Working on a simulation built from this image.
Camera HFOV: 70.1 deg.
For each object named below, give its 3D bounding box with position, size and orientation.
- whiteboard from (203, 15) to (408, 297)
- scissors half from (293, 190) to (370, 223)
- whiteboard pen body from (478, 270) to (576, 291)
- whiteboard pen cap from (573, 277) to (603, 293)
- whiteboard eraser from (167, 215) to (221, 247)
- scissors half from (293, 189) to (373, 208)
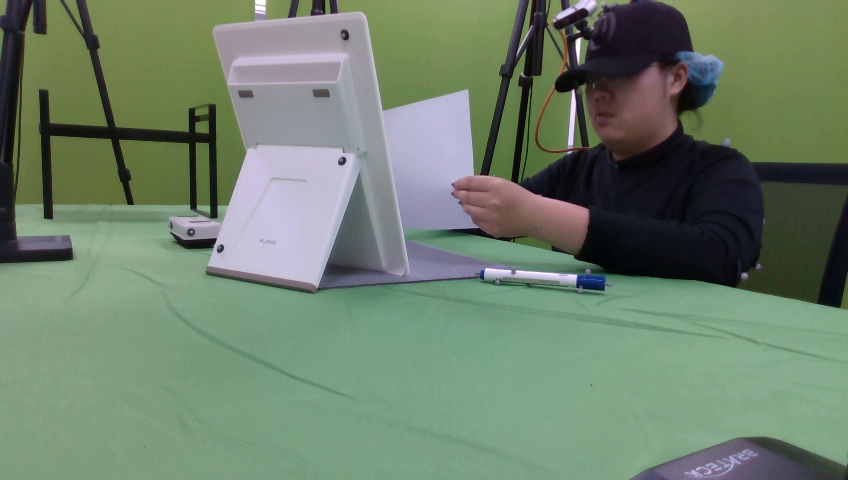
[{"bbox_3d":[-0.166,-0.072,0.669,0.216,0.305,0.144,8,30,30],"label":"whiteboard"},{"bbox_3d":[-0.205,-0.078,1.338,0.175,0.040,0.013,22,12,-8],"label":"scissors half"},{"bbox_3d":[0.131,0.048,0.706,0.140,0.017,0.017,4,7,17],"label":"whiteboard pen body"},{"bbox_3d":[0.186,0.051,0.687,0.033,0.018,0.018,4,8,17],"label":"whiteboard pen cap"},{"bbox_3d":[-0.350,-0.014,0.920,0.056,0.042,0.112,0,7,-35],"label":"whiteboard eraser"},{"bbox_3d":[-0.201,-0.097,1.332,0.175,0.040,0.013,4,19,-4],"label":"scissors half"}]
